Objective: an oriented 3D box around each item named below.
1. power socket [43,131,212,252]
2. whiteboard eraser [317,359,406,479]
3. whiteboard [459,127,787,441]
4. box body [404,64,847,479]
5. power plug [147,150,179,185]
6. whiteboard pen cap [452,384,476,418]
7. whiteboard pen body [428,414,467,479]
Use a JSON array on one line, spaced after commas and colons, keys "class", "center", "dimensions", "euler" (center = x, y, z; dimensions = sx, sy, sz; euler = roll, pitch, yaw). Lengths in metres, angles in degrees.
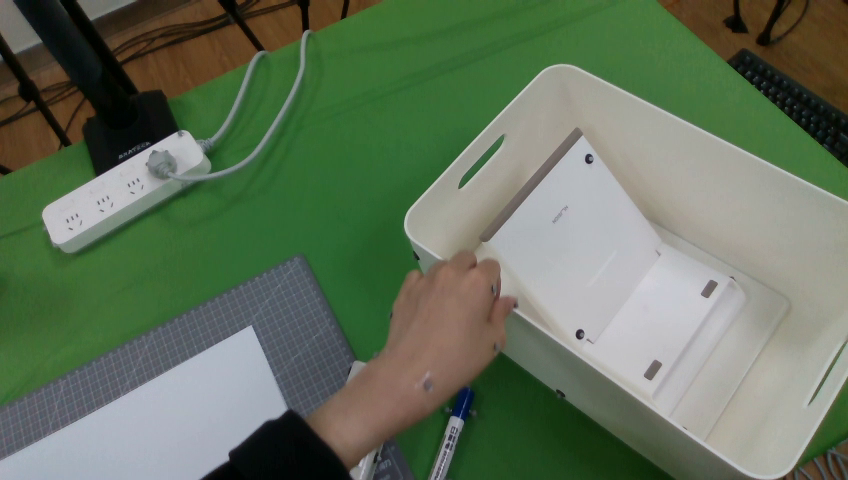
[{"class": "power socket", "center": [-0.380, -0.064, 0.783], "dimensions": [0.227, 0.033, 0.071], "euler": [-33, 63, -12]}, {"class": "whiteboard eraser", "center": [-0.061, 0.179, 0.603], "dimensions": [0.055, 0.042, 0.112], "euler": [12, 64, 14]}, {"class": "whiteboard", "center": [0.192, 0.026, 0.602], "dimensions": [0.303, 0.145, 0.217], "euler": [33, 67, 23]}, {"class": "box body", "center": [0.197, 0.030, 0.587], "dimensions": [0.361, 0.162, 0.253], "euler": [34, 70, 22]}, {"class": "power plug", "center": [-0.324, -0.082, 0.760], "dimensions": [0.035, 0.053, 0.072], "euler": [-24, 67, -6]}, {"class": "whiteboard pen cap", "center": [0.040, 0.165, 0.616], "dimensions": [0.018, 0.018, 0.033], "euler": [16, 66, 16]}, {"class": "whiteboard pen body", "center": [0.020, 0.214, 0.592], "dimensions": [0.017, 0.017, 0.140], "euler": [17, 65, 16]}]
